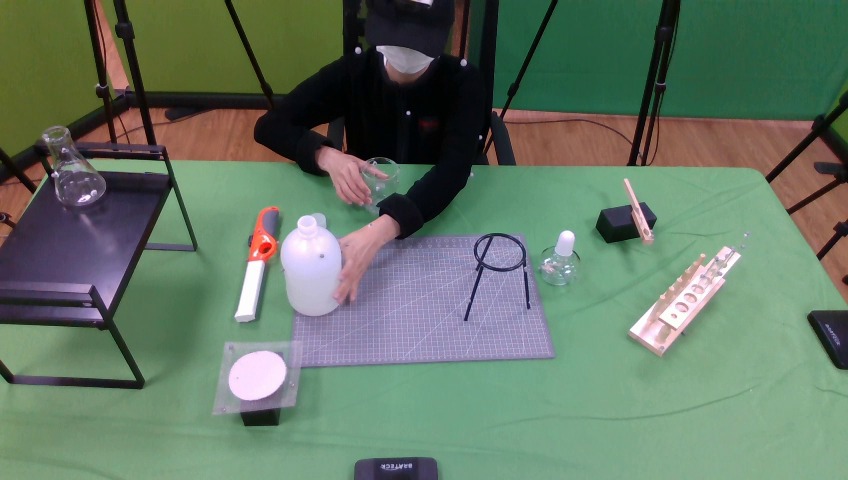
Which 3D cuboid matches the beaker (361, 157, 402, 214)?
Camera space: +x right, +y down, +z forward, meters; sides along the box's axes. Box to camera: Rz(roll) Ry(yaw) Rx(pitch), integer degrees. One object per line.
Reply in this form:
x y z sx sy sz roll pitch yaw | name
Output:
-0.088 -0.109 1.242 0.084 0.101 0.073 -7 47 -11 | beaker

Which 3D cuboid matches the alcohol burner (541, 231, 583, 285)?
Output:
0.258 0.028 1.123 0.078 0.120 0.077 1 47 -1 | alcohol burner

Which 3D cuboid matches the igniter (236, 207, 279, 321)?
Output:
-0.310 0.036 1.137 0.057 0.025 0.274 -7 46 5 | igniter

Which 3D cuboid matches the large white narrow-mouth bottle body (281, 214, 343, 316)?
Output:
-0.190 0.035 1.025 0.102 0.195 0.101 2 46 -2 | large white narrow-mouth bottle body

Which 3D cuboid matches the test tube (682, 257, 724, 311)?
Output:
0.475 0.080 1.037 0.017 0.151 0.017 2 51 -2 | test tube

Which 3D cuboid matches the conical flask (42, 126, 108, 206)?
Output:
-0.555 -0.119 0.953 0.075 0.122 0.075 2 46 -2 | conical flask

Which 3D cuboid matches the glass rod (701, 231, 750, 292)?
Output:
0.519 0.045 1.050 0.008 0.201 0.008 0 55 0 | glass rod

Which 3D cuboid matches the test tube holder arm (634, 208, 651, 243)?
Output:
0.428 -0.030 1.189 0.010 0.015 0.087 1 47 -2 | test tube holder arm

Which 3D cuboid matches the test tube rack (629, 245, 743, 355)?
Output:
0.474 0.095 1.091 0.242 0.085 0.066 -34 56 -31 | test tube rack

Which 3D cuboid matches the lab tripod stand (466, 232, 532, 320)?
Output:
0.125 0.059 1.065 0.148 0.132 0.147 1 45 0 | lab tripod stand

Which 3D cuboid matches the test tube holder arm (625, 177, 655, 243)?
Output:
0.433 -0.062 1.220 0.013 0.015 0.177 1 47 -3 | test tube holder arm

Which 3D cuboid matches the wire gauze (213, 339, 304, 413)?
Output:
-0.250 0.203 0.924 0.121 0.011 0.124 -1 46 -3 | wire gauze

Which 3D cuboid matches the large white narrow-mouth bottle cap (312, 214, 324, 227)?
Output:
-0.219 -0.033 1.214 0.038 0.024 0.037 2 46 -2 | large white narrow-mouth bottle cap

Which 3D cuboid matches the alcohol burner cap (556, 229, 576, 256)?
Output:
0.260 0.002 1.098 0.034 0.048 0.033 3 40 -2 | alcohol burner cap
